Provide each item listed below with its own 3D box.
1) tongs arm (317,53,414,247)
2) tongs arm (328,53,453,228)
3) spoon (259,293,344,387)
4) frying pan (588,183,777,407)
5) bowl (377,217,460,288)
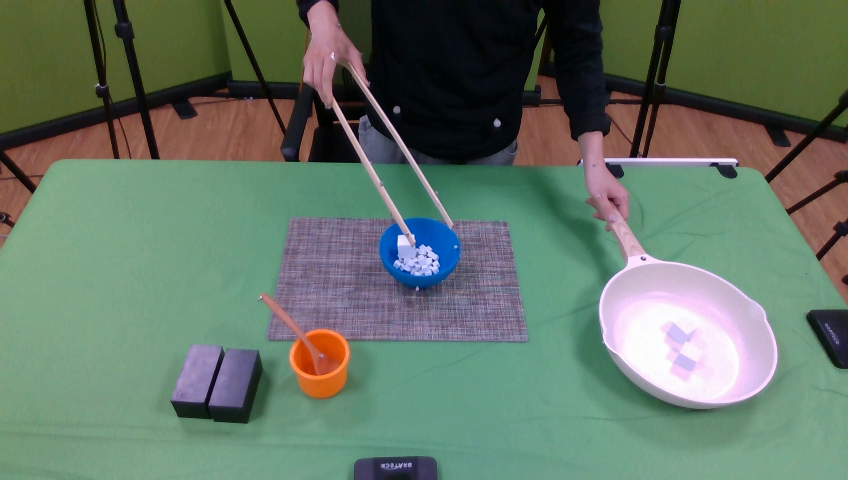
[{"bbox_3d":[-0.097,-0.161,1.045,0.051,0.026,0.383,-28,76,-15],"label":"tongs arm"},{"bbox_3d":[-0.058,-0.180,1.057,0.028,0.028,0.386,-31,77,-12],"label":"tongs arm"},{"bbox_3d":[-0.191,0.155,0.947,0.021,0.194,0.041,-13,27,50],"label":"spoon"},{"bbox_3d":[0.412,0.079,1.096,0.307,0.103,0.484,-9,56,-14],"label":"frying pan"},{"bbox_3d":[-0.011,0.036,1.118,0.151,0.077,0.150,2,46,-2],"label":"bowl"}]
